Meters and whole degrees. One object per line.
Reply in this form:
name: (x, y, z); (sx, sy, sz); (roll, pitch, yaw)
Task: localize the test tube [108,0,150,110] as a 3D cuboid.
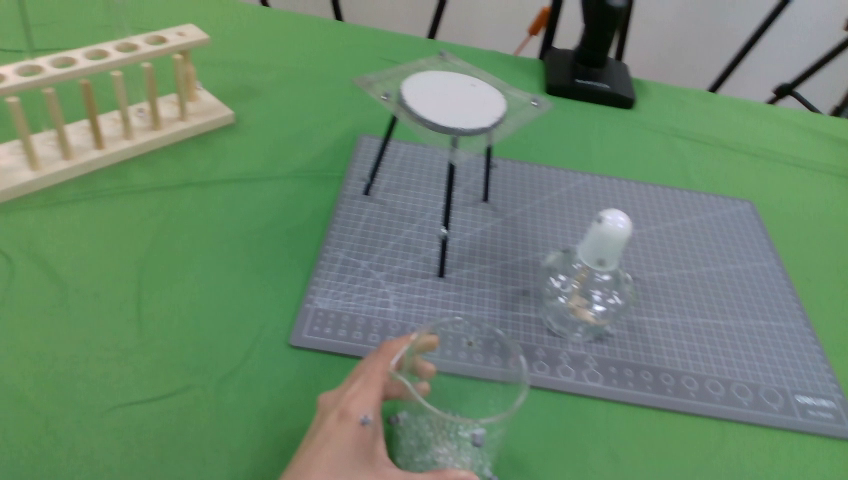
test tube: (-0.282, -0.192, 0.573); (0.017, 0.151, 0.017); (4, 40, -3)

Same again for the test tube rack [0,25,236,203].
test tube rack: (-0.305, -0.126, 0.572); (0.066, 0.086, 0.242); (38, 49, 27)

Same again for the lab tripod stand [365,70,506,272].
lab tripod stand: (0.017, -0.067, 0.535); (0.149, 0.132, 0.147); (7, 44, -6)

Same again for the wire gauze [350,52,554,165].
wire gauze: (0.023, -0.116, 0.489); (0.121, 0.011, 0.124); (-31, 58, -35)

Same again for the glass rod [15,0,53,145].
glass rod: (-0.339, -0.172, 0.516); (0.008, 0.201, 0.008); (7, 33, -4)

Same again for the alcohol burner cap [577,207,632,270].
alcohol burner cap: (0.137, -0.003, 0.453); (0.034, 0.048, 0.033); (5, 48, -5)

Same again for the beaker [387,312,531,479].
beaker: (0.015, 0.106, 0.381); (0.084, 0.101, 0.073); (3, 43, -7)

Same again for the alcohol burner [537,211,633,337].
alcohol burner: (0.132, 0.022, 0.479); (0.078, 0.120, 0.077); (7, 42, -6)
